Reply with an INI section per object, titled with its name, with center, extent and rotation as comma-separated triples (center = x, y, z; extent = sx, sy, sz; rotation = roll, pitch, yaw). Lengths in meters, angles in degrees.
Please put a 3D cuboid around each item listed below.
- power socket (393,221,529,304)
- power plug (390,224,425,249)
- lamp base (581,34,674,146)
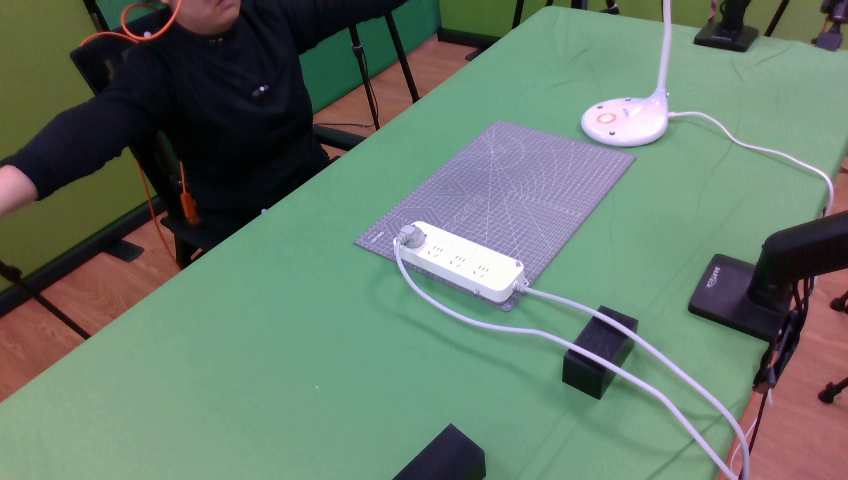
[power socket]
center = 0.049, 0.030, 0.914
extent = 0.225, 0.033, 0.072
rotation = 24, 51, 31
[power plug]
center = -0.030, 0.004, 0.920
extent = 0.073, 0.053, 0.035
rotation = -34, 47, -26
[lamp base]
center = 0.392, -0.291, 1.129
extent = 0.180, 0.181, 0.159
rotation = -11, 41, -8
